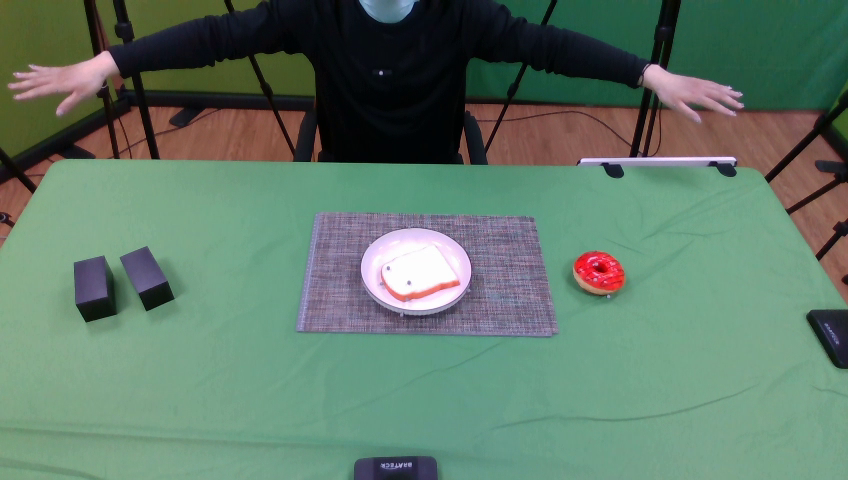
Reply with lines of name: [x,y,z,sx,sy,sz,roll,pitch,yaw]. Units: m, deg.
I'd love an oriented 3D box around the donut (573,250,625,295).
donut: [0.332,0.062,1.149,0.099,0.048,0.098,4,45,-4]

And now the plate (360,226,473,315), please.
plate: [-0.013,0.059,1.124,0.208,0.039,0.206,2,46,-2]

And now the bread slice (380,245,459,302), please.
bread slice: [-0.014,0.063,1.122,0.132,0.019,0.104,-18,49,-21]
